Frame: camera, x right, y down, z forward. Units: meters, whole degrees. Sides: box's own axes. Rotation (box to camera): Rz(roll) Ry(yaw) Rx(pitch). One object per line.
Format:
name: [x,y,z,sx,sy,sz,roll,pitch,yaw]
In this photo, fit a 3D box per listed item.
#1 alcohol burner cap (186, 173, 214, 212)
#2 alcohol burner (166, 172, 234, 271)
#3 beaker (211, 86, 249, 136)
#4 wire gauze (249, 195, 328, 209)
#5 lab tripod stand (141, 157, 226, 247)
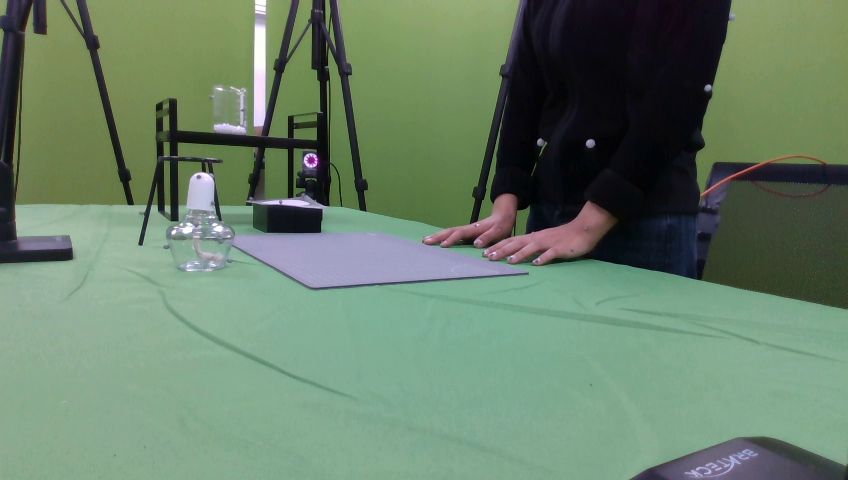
alcohol burner cap: [-0.268,-0.057,0.731,0.034,0.048,0.034,6,2,0]
alcohol burner: [-0.271,-0.023,0.735,0.078,0.119,0.078,2,5,0]
beaker: [-0.413,-0.274,1.297,0.074,0.100,0.083,-5,11,-44]
wire gauze: [-0.260,-0.071,1.139,0.126,0.011,0.121,-3,12,-28]
lab tripod stand: [-0.353,-0.060,0.920,0.148,0.131,0.148,1,6,0]
